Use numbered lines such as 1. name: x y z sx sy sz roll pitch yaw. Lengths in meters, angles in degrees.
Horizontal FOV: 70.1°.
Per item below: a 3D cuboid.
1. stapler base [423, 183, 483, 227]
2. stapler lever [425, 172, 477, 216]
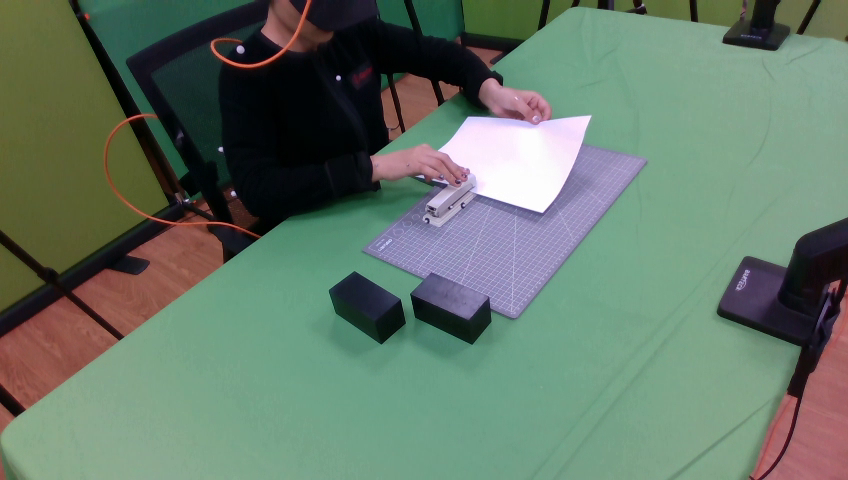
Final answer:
1. stapler base: 0.051 -0.071 1.053 0.041 0.024 0.131 21 50 36
2. stapler lever: 0.049 -0.082 1.042 0.026 0.040 0.118 21 39 36
